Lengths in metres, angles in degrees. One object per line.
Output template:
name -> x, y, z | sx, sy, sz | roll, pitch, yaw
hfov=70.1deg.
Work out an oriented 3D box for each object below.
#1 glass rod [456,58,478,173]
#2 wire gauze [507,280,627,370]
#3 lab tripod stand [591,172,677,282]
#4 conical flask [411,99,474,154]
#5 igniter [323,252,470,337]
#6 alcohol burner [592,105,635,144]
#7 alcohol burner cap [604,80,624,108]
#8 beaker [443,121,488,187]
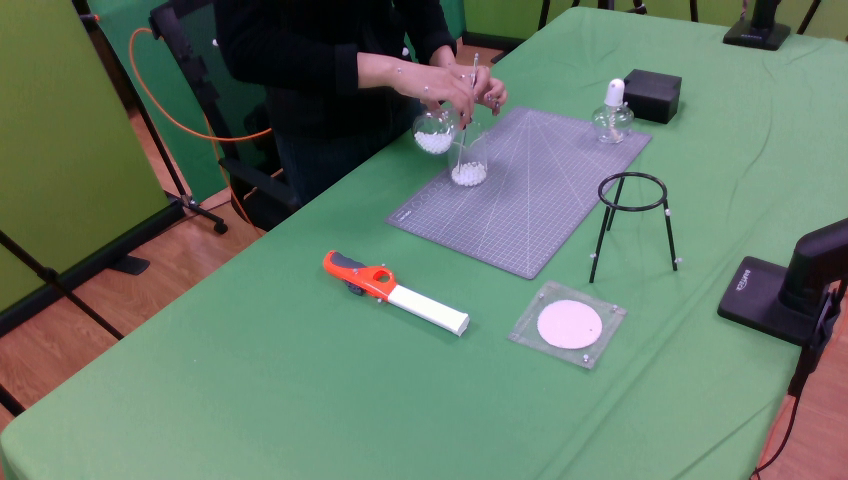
glass rod -> 0.074, -0.215, 1.054 | 0.008, 0.200, 0.008 | 9, 14, -2
wire gauze -> 0.196, 0.114, 0.823 | 0.120, 0.011, 0.125 | 20, 50, 31
lab tripod stand -> 0.292, -0.022, 0.867 | 0.148, 0.132, 0.147 | -7, 39, 6
conical flask -> 0.039, -0.196, 0.999 | 0.075, 0.075, 0.122 | 16, 37, 27
igniter -> -0.052, 0.075, 0.901 | 0.274, 0.025, 0.057 | 22, 60, 32
alcohol burner -> 0.353, -0.242, 1.126 | 0.078, 0.119, 0.077 | -5, 38, 5
alcohol burner cap -> 0.350, -0.269, 1.102 | 0.034, 0.048, 0.033 | -2, 46, 3
beaker -> 0.078, -0.150, 1.083 | 0.074, 0.101, 0.083 | -9, 40, 1
